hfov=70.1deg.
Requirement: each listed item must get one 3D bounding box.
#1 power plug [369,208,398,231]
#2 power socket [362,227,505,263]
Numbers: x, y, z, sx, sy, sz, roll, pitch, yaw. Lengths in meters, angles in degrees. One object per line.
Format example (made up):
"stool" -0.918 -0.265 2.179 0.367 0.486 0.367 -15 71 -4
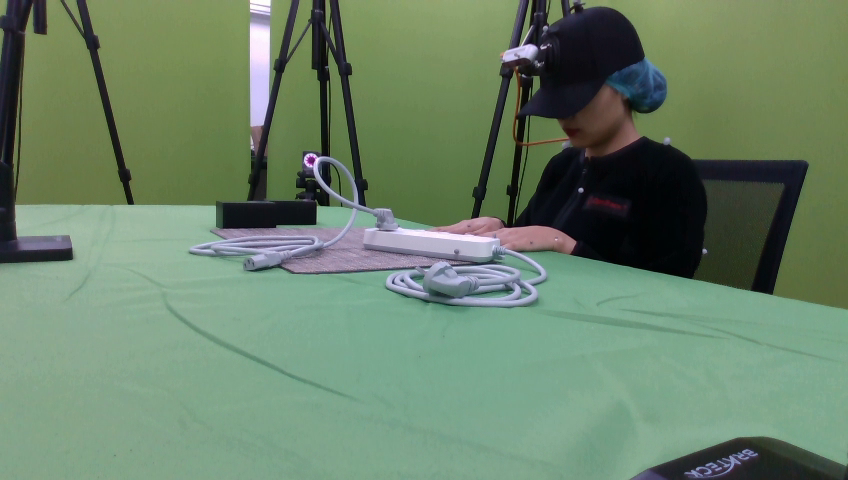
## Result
"power plug" -0.069 -0.023 0.915 0.035 0.052 0.073 9 9 39
"power socket" 0.009 0.004 0.909 0.226 0.032 0.072 7 9 28
